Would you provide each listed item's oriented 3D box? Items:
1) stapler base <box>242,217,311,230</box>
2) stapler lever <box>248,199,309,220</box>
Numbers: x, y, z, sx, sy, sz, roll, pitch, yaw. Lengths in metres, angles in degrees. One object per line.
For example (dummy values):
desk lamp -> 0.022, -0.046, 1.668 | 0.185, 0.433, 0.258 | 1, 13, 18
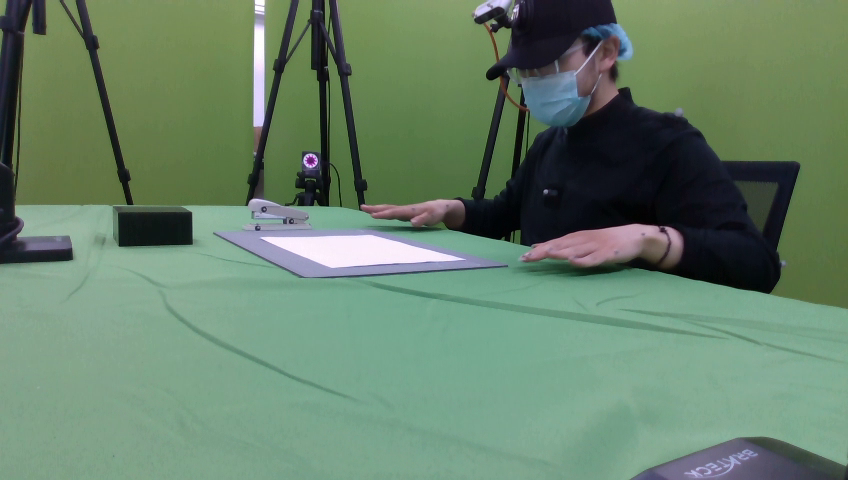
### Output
stapler base -> -0.284, -0.033, 1.170 | 0.131, 0.024, 0.041 | -1, 11, -37
stapler lever -> -0.281, -0.058, 1.169 | 0.119, 0.040, 0.026 | -1, 10, -37
